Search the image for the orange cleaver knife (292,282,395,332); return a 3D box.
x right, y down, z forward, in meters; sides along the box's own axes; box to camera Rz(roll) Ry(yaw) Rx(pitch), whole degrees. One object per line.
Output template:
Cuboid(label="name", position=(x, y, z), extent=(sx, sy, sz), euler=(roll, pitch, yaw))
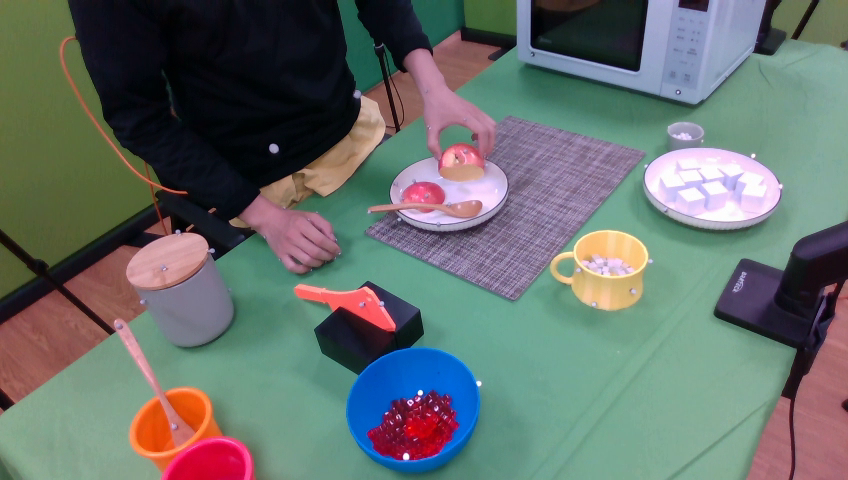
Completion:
Cuboid(label="orange cleaver knife", position=(-0.116, 0.091, 0.835), extent=(0.209, 0.077, 0.012), euler=(2, 32, 48))

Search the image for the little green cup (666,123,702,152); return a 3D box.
Cuboid(label="little green cup", position=(0.472, -0.183, 1.102), extent=(0.061, 0.039, 0.061), euler=(-5, 41, 5))

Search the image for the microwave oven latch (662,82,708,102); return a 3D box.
Cuboid(label="microwave oven latch", position=(0.517, -0.298, 1.203), extent=(0.078, 0.029, 0.030), euler=(27, 52, 34))

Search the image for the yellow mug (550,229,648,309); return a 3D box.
Cuboid(label="yellow mug", position=(0.245, 0.040, 0.857), extent=(0.130, 0.064, 0.099), euler=(1, 42, 11))

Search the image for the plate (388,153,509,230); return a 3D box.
Cuboid(label="plate", position=(0.043, -0.082, 1.042), extent=(0.209, 0.038, 0.208), euler=(-4, 40, 4))

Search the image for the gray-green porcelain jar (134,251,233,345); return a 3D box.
Cuboid(label="gray-green porcelain jar", position=(-0.334, 0.076, 0.849), extent=(0.106, 0.127, 0.105), euler=(-4, 41, 4))

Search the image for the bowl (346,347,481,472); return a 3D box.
Cuboid(label="bowl", position=(-0.008, 0.205, 0.691), extent=(0.151, 0.077, 0.150), euler=(-4, 40, 4))

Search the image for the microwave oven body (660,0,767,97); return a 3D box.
Cuboid(label="microwave oven body", position=(0.473, -0.517, 1.314), extent=(0.438, 0.261, 0.327), euler=(26, 51, 34))

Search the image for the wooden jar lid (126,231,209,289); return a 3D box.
Cuboid(label="wooden jar lid", position=(-0.340, 0.030, 0.808), extent=(0.108, 0.021, 0.108), euler=(-5, 39, 5))

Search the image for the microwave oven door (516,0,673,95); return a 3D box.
Cuboid(label="microwave oven door", position=(0.344, -0.458, 1.256), extent=(0.353, 0.245, 0.039), euler=(26, 51, 33))

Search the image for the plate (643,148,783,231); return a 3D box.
Cuboid(label="plate", position=(0.464, -0.079, 0.986), extent=(0.207, 0.039, 0.206), euler=(-4, 40, 4))

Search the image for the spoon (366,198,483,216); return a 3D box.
Cuboid(label="spoon", position=(0.001, -0.056, 0.998), extent=(0.194, 0.022, 0.041), euler=(2, 48, -9))

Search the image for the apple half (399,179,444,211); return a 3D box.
Cuboid(label="apple half", position=(-0.003, -0.088, 1.046), extent=(0.081, 0.033, 0.081), euler=(-2, 43, 3))

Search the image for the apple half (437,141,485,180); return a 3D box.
Cuboid(label="apple half", position=(0.065, -0.139, 1.032), extent=(0.080, 0.075, 0.053), euler=(-8, 71, 25))

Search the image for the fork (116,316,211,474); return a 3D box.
Cuboid(label="fork", position=(-0.308, 0.179, 0.708), extent=(0.028, 0.018, 0.207), euler=(-30, 89, -15))
